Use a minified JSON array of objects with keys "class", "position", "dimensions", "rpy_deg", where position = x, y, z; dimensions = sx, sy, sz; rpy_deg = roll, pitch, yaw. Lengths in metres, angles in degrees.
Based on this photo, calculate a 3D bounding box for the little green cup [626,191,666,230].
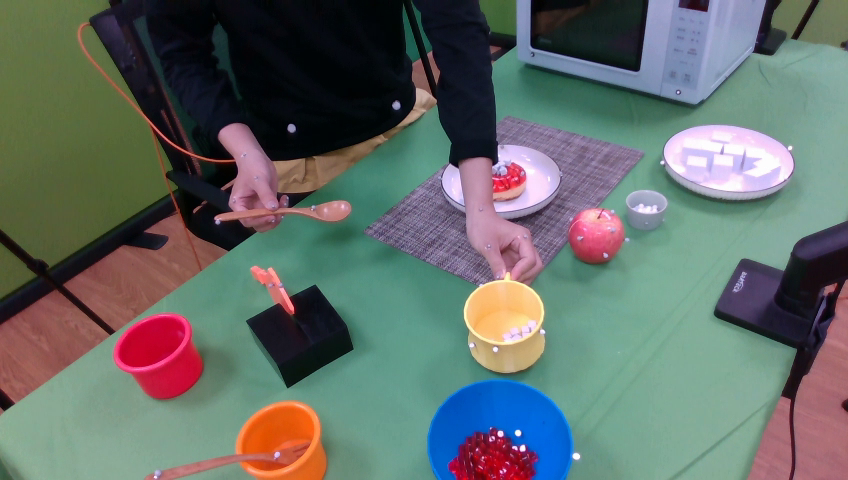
[{"class":"little green cup","position":[0.352,-0.046,0.963],"dimensions":[0.061,0.039,0.061],"rpy_deg":[-4,40,4]}]

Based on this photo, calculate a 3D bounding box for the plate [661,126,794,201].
[{"class":"plate","position":[0.513,-0.127,1.035],"dimensions":[0.207,0.039,0.206],"rpy_deg":[-4,40,4]}]

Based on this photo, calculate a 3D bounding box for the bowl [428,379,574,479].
[{"class":"bowl","position":[0.082,0.233,0.644],"dimensions":[0.151,0.077,0.150],"rpy_deg":[-4,39,4]}]

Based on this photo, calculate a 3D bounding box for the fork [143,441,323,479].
[{"class":"fork","position":[-0.189,0.231,0.631],"dimensions":[0.028,0.018,0.209],"rpy_deg":[35,13,37]}]

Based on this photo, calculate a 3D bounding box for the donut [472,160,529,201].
[{"class":"donut","position":[0.131,-0.105,1.043],"dimensions":[0.099,0.048,0.098],"rpy_deg":[-5,37,4]}]

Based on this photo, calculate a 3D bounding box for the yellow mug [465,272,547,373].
[{"class":"yellow mug","position":[0.106,0.097,0.775],"dimensions":[0.100,0.064,0.130],"rpy_deg":[0,46,12]}]

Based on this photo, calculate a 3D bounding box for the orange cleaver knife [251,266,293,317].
[{"class":"orange cleaver knife","position":[-0.221,0.071,0.873],"dimensions":[0.012,0.077,0.210],"rpy_deg":[-25,11,-21]}]

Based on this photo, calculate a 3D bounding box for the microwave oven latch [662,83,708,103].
[{"class":"microwave oven latch","position":[0.518,-0.296,1.204],"dimensions":[0.078,0.029,0.030],"rpy_deg":[28,52,35]}]

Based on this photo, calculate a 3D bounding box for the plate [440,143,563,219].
[{"class":"plate","position":[0.134,-0.098,1.051],"dimensions":[0.209,0.038,0.208],"rpy_deg":[-4,40,4]}]

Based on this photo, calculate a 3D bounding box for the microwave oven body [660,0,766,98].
[{"class":"microwave oven body","position":[0.472,-0.513,1.317],"dimensions":[0.438,0.261,0.327],"rpy_deg":[26,51,34]}]

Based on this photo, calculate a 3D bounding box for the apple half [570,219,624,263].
[{"class":"apple half","position":[0.250,0.009,0.885],"dimensions":[0.081,0.081,0.033],"rpy_deg":[7,39,17]}]

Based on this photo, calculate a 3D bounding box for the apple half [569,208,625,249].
[{"class":"apple half","position":[0.262,-0.014,0.913],"dimensions":[0.080,0.075,0.053],"rpy_deg":[4,37,20]}]

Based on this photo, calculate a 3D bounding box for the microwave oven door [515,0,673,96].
[{"class":"microwave oven door","position":[0.344,-0.455,1.259],"dimensions":[0.353,0.245,0.039],"rpy_deg":[26,51,33]}]

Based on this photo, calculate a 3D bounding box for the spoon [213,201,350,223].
[{"class":"spoon","position":[-0.203,-0.039,0.877],"dimensions":[0.195,0.021,0.041],"rpy_deg":[-2,50,-25]}]
